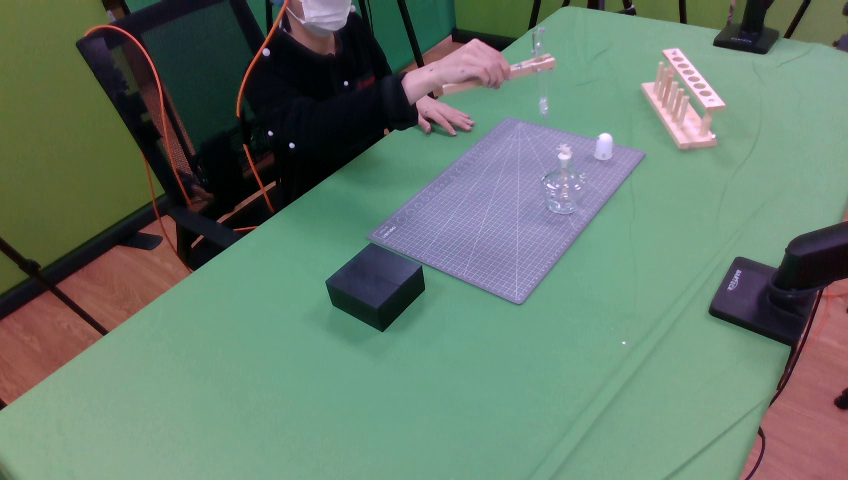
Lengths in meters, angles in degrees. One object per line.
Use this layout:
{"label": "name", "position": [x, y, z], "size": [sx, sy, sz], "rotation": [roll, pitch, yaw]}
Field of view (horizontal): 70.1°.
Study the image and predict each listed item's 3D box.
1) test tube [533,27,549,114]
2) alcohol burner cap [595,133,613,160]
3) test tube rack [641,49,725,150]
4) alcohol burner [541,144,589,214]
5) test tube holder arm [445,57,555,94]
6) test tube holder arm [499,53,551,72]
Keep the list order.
{"label": "test tube", "position": [0.186, -0.264, 0.959], "size": [0.017, 0.151, 0.017], "rotation": [-9, 44, 9]}
{"label": "alcohol burner cap", "position": [0.330, -0.172, 1.104], "size": [0.034, 0.048, 0.033], "rotation": [-5, 40, 5]}
{"label": "test tube rack", "position": [0.495, -0.279, 1.175], "size": [0.067, 0.085, 0.241], "rotation": [-5, 41, 3]}
{"label": "alcohol burner", "position": [0.229, -0.102, 0.983], "size": [0.078, 0.119, 0.077], "rotation": [-6, 41, 5]}
{"label": "test tube holder arm", "position": [0.118, -0.255, 0.935], "size": [0.179, 0.015, 0.013], "rotation": [-17, 39, -6]}
{"label": "test tube holder arm", "position": [0.159, -0.272, 0.946], "size": [0.088, 0.015, 0.010], "rotation": [-21, 40, -12]}
